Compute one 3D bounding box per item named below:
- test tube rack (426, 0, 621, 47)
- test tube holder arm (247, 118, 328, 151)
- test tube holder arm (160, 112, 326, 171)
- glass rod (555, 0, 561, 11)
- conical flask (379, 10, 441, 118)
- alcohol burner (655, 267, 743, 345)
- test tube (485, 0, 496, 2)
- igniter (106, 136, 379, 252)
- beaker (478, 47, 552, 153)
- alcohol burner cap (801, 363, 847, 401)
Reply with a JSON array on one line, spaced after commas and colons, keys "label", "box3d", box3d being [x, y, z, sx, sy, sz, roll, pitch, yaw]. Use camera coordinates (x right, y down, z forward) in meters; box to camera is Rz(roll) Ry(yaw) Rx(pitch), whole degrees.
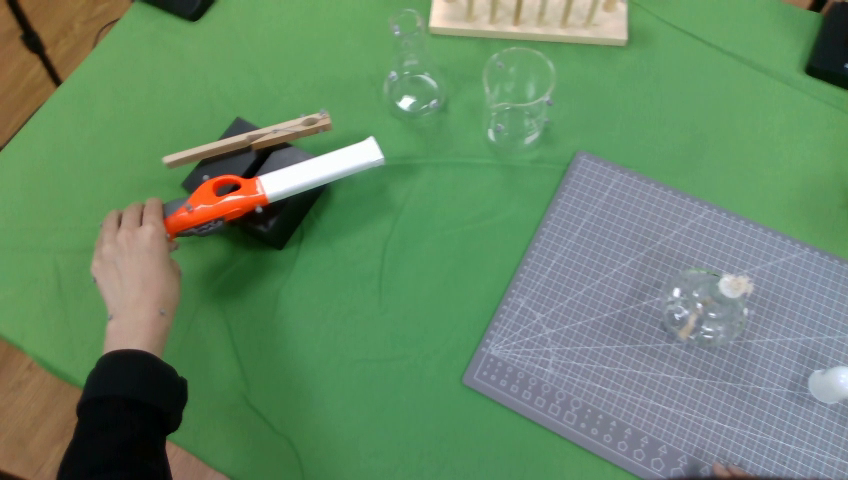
[{"label": "test tube rack", "box3d": [0.124, -0.296, 0.734, 0.242, 0.086, 0.066, 5, 68, 4]}, {"label": "test tube holder arm", "box3d": [-0.147, -0.114, 0.653, 0.088, 0.015, 0.010, -16, 68, -5]}, {"label": "test tube holder arm", "box3d": [-0.192, -0.106, 0.651, 0.178, 0.015, 0.013, -17, 68, -6]}, {"label": "glass rod", "box3d": [0.159, -0.341, 0.680, 0.008, 0.201, 0.008, -2, 59, 4]}, {"label": "conical flask", "box3d": [-0.019, -0.200, 0.680, 0.075, 0.123, 0.075, -1, 67, 2]}, {"label": "alcohol burner", "box3d": [0.261, 0.056, 0.564, 0.078, 0.120, 0.077, 0, 67, 0]}, {"label": "test tube", "box3d": [0.086, -0.336, 0.698, 0.017, 0.151, 0.017, 1, 62, -1]}, {"label": "igniter", "box3d": [-0.179, -0.048, 0.618, 0.277, 0.025, 0.057, -22, 68, -13]}, {"label": "beaker", "box3d": [0.094, -0.147, 0.666, 0.073, 0.101, 0.084, 40, 75, 18]}, {"label": "alcohol burner cap", "box3d": [0.382, 0.131, 0.568, 0.034, 0.048, 0.033, -1, 68, 2]}]
